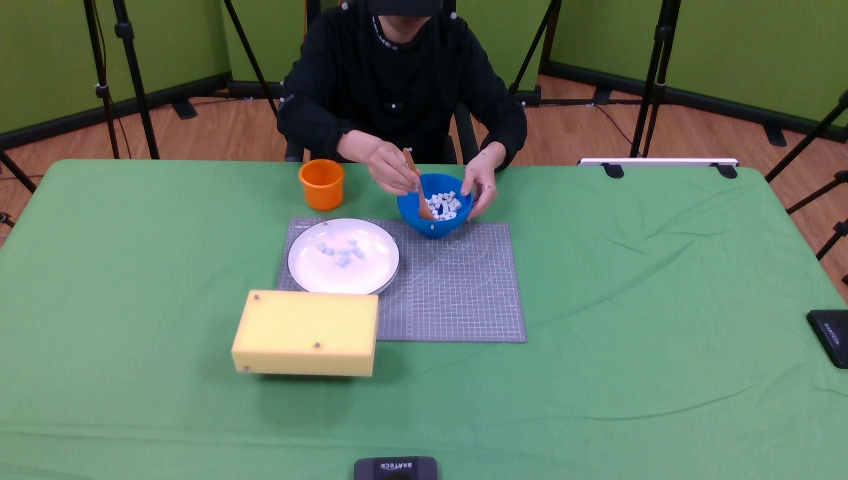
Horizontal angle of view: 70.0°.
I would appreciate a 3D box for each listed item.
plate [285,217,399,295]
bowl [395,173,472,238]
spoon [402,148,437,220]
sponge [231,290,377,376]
[{"bbox_3d":[-0.150,0.041,1.131,0.209,0.038,0.208,2,46,-2],"label":"plate"},{"bbox_3d":[0.018,-0.057,1.200,0.151,0.077,0.150,1,43,-1],"label":"bowl"},{"bbox_3d":[-0.009,-0.091,1.114,0.041,0.195,0.021,11,47,32],"label":"spoon"},{"bbox_3d":[-0.180,0.144,0.949,0.207,0.061,0.117,2,46,-2],"label":"sponge"}]
